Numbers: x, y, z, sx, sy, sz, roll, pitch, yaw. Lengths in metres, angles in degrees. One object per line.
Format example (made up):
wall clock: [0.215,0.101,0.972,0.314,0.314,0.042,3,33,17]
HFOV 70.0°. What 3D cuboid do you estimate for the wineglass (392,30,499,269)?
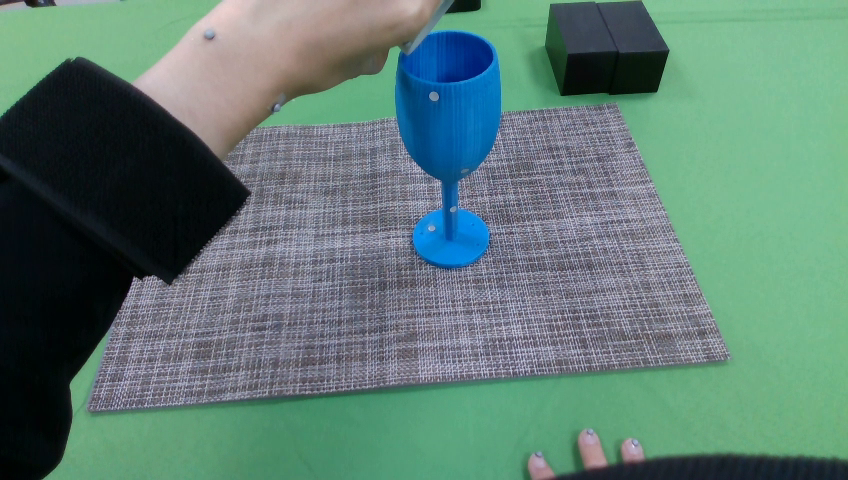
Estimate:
wineglass: [0.017,-0.058,0.442,0.074,0.174,0.073,-1,49,2]

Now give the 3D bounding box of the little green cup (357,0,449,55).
little green cup: [-0.009,-0.145,0.355,0.039,0.061,0.061,39,55,-7]
